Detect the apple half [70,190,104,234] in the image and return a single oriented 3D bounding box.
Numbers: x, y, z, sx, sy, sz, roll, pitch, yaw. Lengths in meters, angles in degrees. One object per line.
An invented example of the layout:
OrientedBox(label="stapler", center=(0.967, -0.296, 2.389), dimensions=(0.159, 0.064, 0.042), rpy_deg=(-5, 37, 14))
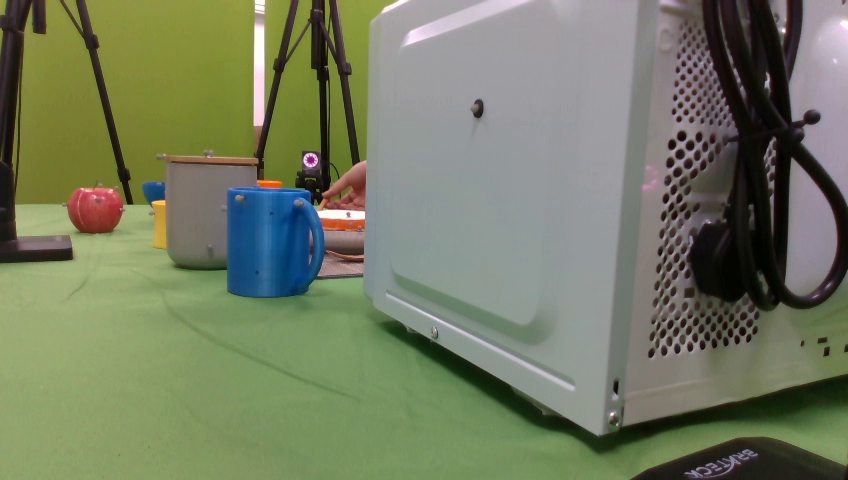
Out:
OrientedBox(label="apple half", center=(-0.552, -0.047, 1.009), dimensions=(0.053, 0.074, 0.081), rpy_deg=(0, 9, 26))

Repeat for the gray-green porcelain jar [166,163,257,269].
OrientedBox(label="gray-green porcelain jar", center=(-0.263, -0.031, 0.754), dimensions=(0.106, 0.126, 0.106), rpy_deg=(2, 7, 0))

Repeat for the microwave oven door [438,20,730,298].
OrientedBox(label="microwave oven door", center=(0.181, -0.076, 0.618), dimensions=(0.358, 0.243, 0.039), rpy_deg=(-2, 8, -28))

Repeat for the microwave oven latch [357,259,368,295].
OrientedBox(label="microwave oven latch", center=(-0.019, 0.031, 0.529), dimensions=(0.079, 0.029, 0.030), rpy_deg=(-1, 7, -26))

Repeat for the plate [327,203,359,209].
OrientedBox(label="plate", center=(-0.102, -0.053, 1.299), dimensions=(0.209, 0.038, 0.209), rpy_deg=(2, 8, 0))

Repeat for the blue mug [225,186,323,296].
OrientedBox(label="blue mug", center=(-0.148, 0.000, 0.618), dimensions=(0.116, 0.106, 0.083), rpy_deg=(7, 9, 33))

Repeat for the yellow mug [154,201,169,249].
OrientedBox(label="yellow mug", center=(-0.337, -0.022, 0.899), dimensions=(0.130, 0.064, 0.100), rpy_deg=(8, 9, 34))

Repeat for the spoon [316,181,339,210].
OrientedBox(label="spoon", center=(-0.188, -0.066, 1.128), dimensions=(0.041, 0.021, 0.193), rpy_deg=(1, 36, 12))

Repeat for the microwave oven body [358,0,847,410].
OrientedBox(label="microwave oven body", center=(0.210, -0.051, 0.471), dimensions=(0.444, 0.260, 0.324), rpy_deg=(-1, 7, -28))

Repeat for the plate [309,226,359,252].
OrientedBox(label="plate", center=(-0.130, -0.011, 0.945), dimensions=(0.208, 0.039, 0.207), rpy_deg=(2, 8, 0))

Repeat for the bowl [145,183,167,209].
OrientedBox(label="bowl", center=(-0.459, -0.068, 1.175), dimensions=(0.151, 0.077, 0.151), rpy_deg=(3, 7, 0))

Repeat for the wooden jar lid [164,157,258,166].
OrientedBox(label="wooden jar lid", center=(-0.261, -0.093, 0.746), dimensions=(0.108, 0.020, 0.108), rpy_deg=(0, 9, 0))

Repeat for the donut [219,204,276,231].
OrientedBox(label="donut", center=(-0.316, -0.039, 1.083), dimensions=(0.099, 0.048, 0.099), rpy_deg=(3, 7, 0))

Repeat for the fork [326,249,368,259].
OrientedBox(label="fork", center=(-0.033, 0.015, 0.835), dimensions=(0.208, 0.018, 0.028), rpy_deg=(-4, 0, -23))

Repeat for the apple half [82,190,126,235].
OrientedBox(label="apple half", center=(-0.517, -0.046, 0.994), dimensions=(0.032, 0.081, 0.081), rpy_deg=(0, 6, 26))

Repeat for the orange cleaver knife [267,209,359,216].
OrientedBox(label="orange cleaver knife", center=(-0.259, -0.064, 1.423), dimensions=(0.212, 0.012, 0.077), rpy_deg=(-4, 3, -30))

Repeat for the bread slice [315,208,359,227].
OrientedBox(label="bread slice", center=(-0.127, -0.035, 0.933), dimensions=(0.134, 0.018, 0.107), rpy_deg=(4, 10, 27))

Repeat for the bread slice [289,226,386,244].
OrientedBox(label="bread slice", center=(-0.125, -0.008, 0.938), dimensions=(0.131, 0.019, 0.105), rpy_deg=(5, 7, 31))
